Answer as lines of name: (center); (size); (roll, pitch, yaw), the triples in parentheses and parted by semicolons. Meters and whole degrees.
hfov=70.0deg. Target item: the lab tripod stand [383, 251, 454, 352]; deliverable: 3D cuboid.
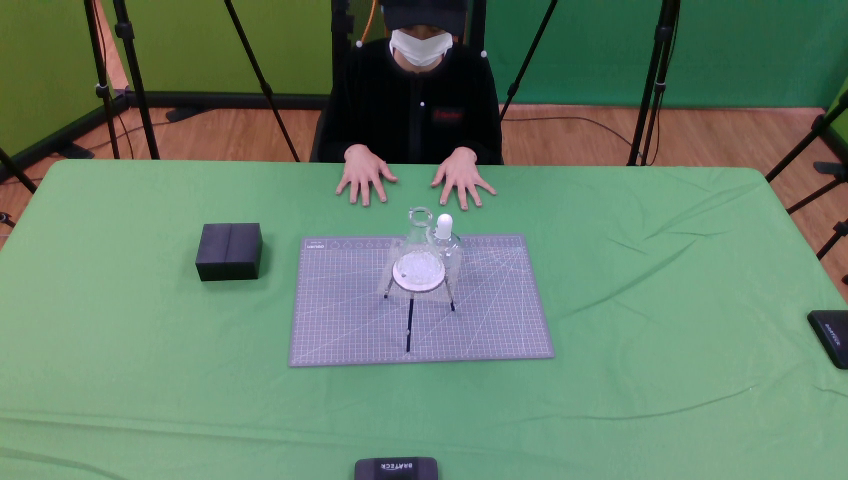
lab tripod stand: (-0.015, 0.094, 1.025); (0.148, 0.132, 0.147); (1, 46, -1)

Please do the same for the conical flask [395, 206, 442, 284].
conical flask: (-0.007, 0.005, 0.937); (0.075, 0.122, 0.075); (2, 45, -1)

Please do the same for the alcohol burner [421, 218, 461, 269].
alcohol burner: (0.033, -0.001, 1.135); (0.078, 0.119, 0.077); (3, 48, -3)

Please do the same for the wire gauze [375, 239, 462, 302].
wire gauze: (-0.006, 0.049, 0.978); (0.121, 0.011, 0.124); (10, 44, 5)

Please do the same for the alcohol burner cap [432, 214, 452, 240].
alcohol burner cap: (0.035, -0.027, 1.110); (0.034, 0.048, 0.033); (7, 42, -6)
